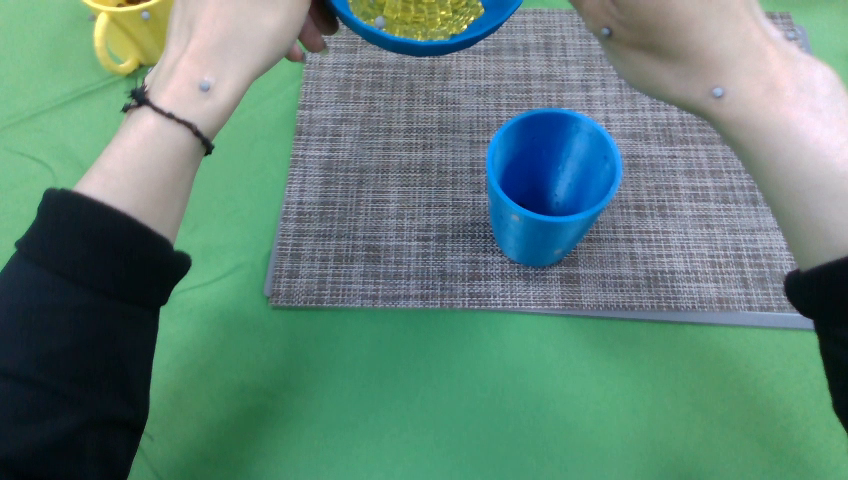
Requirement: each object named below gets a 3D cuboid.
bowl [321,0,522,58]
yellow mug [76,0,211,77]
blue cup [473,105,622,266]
[{"bbox_3d":[-0.006,-0.183,0.403,0.152,0.077,0.151,1,83,-7],"label":"bowl"},{"bbox_3d":[-0.255,-0.202,0.536,0.100,0.064,0.130,12,65,7],"label":"yellow mug"},{"bbox_3d":[0.083,-0.028,0.422,0.092,0.101,0.092,-1,64,2],"label":"blue cup"}]
